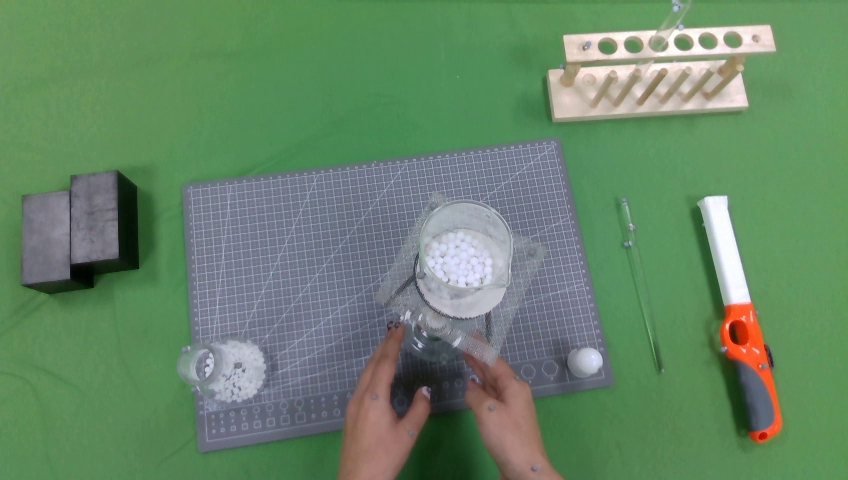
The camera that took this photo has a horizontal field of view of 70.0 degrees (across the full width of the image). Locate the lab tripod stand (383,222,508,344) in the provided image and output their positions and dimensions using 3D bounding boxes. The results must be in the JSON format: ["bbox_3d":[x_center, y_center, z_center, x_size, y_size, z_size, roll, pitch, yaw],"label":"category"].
[{"bbox_3d":[0.028,0.044,0.621,0.148,0.132,0.147,0,77,-1],"label":"lab tripod stand"}]

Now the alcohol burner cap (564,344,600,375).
[{"bbox_3d":[0.173,0.127,0.654,0.034,0.048,0.033,1,75,-2],"label":"alcohol burner cap"}]

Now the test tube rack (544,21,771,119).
[{"bbox_3d":[0.274,-0.200,0.721,0.242,0.085,0.066,-4,75,-3],"label":"test tube rack"}]

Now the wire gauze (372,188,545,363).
[{"bbox_3d":[0.032,0.030,0.557,0.125,0.011,0.121,29,79,3],"label":"wire gauze"}]

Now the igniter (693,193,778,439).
[{"bbox_3d":[0.350,0.079,0.684,0.057,0.025,0.275,-3,76,-14],"label":"igniter"}]

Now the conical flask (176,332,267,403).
[{"bbox_3d":[-0.204,0.122,0.597,0.075,0.122,0.075,1,75,-2],"label":"conical flask"}]

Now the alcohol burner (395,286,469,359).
[{"bbox_3d":[0.008,0.082,0.621,0.078,0.119,0.077,0,76,0],"label":"alcohol burner"}]

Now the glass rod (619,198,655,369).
[{"bbox_3d":[0.245,0.048,0.697,0.008,0.008,0.199,-6,79,-4],"label":"glass rod"}]

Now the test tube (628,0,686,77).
[{"bbox_3d":[0.257,-0.225,0.675,0.017,0.151,0.017,0,75,1],"label":"test tube"}]

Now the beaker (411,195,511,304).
[{"bbox_3d":[0.031,0.015,0.511,0.083,0.100,0.074,42,79,8],"label":"beaker"}]
